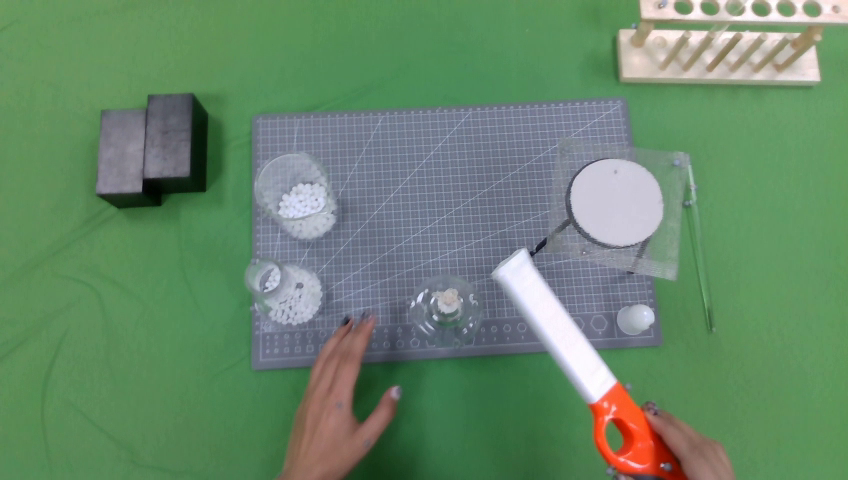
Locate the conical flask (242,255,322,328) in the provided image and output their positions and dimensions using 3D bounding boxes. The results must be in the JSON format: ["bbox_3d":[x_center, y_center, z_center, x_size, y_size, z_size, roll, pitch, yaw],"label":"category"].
[{"bbox_3d":[-0.149,0.047,0.615,0.075,0.122,0.075,0,76,-1],"label":"conical flask"}]

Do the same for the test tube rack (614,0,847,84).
[{"bbox_3d":[0.359,-0.236,0.714,0.242,0.085,0.066,1,76,-1],"label":"test tube rack"}]

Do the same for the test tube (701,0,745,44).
[{"bbox_3d":[0.343,-0.262,0.669,0.017,0.151,0.017,0,76,2],"label":"test tube"}]

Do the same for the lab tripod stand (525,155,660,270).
[{"bbox_3d":[0.174,-0.020,0.632,0.148,0.132,0.147,0,78,0],"label":"lab tripod stand"}]

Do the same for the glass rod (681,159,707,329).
[{"bbox_3d":[0.311,0.003,0.697,0.008,0.008,0.199,-2,79,-2],"label":"glass rod"}]

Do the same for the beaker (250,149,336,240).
[{"bbox_3d":[-0.132,-0.042,0.648,0.084,0.100,0.074,33,78,6],"label":"beaker"}]

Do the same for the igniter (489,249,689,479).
[{"bbox_3d":[0.143,0.128,0.477,0.057,0.025,0.277,-37,93,-20],"label":"igniter"}]

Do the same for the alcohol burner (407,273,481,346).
[{"bbox_3d":[0.020,0.068,0.618,0.078,0.119,0.077,0,76,1],"label":"alcohol burner"}]

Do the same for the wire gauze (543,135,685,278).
[{"bbox_3d":[0.178,-0.035,0.566,0.125,0.011,0.121,11,78,2],"label":"wire gauze"}]

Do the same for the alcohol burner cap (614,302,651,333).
[{"bbox_3d":[0.228,0.082,0.656,0.034,0.048,0.033,0,76,-1],"label":"alcohol burner cap"}]
